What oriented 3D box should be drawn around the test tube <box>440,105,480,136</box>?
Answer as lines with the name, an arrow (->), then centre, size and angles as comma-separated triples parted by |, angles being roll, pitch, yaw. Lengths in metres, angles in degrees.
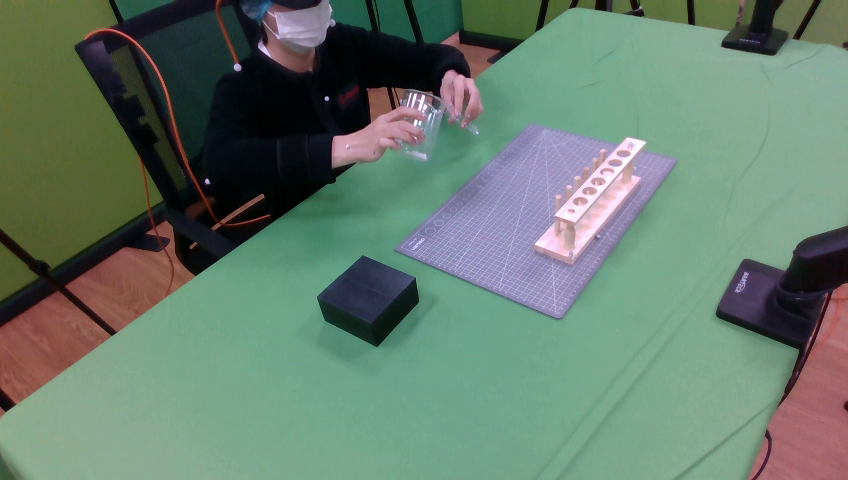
test tube -> 0.069, -0.213, 1.093 | 0.017, 0.017, 0.151 | 18, 2, 29

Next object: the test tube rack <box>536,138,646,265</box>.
test tube rack -> 0.268, -0.071, 0.964 | 0.066, 0.085, 0.243 | 23, 49, 32

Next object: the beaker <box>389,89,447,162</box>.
beaker -> -0.010, -0.182, 0.979 | 0.073, 0.084, 0.100 | 17, 91, 28
